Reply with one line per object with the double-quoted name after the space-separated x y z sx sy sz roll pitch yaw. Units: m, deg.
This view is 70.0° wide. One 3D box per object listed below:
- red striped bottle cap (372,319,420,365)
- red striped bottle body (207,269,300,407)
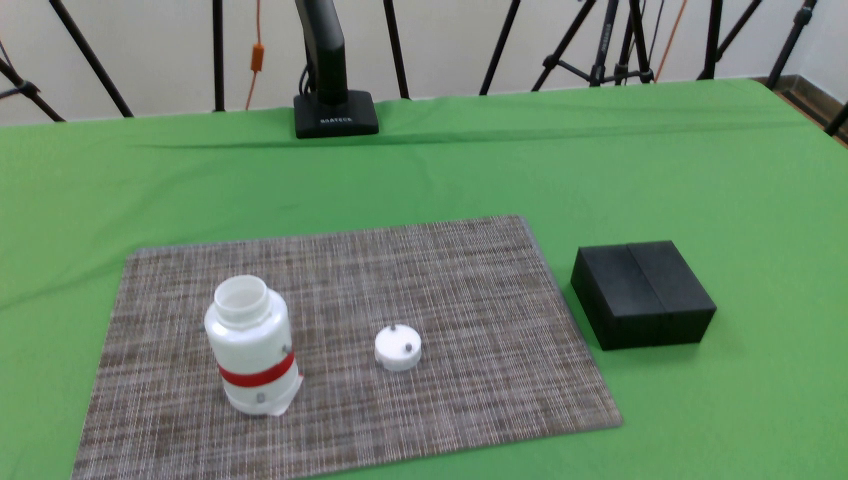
-0.026 0.095 0.569 0.044 0.018 0.044 6 39 -5 "red striped bottle cap"
-0.141 0.080 0.501 0.063 0.121 0.062 1 41 -1 "red striped bottle body"
